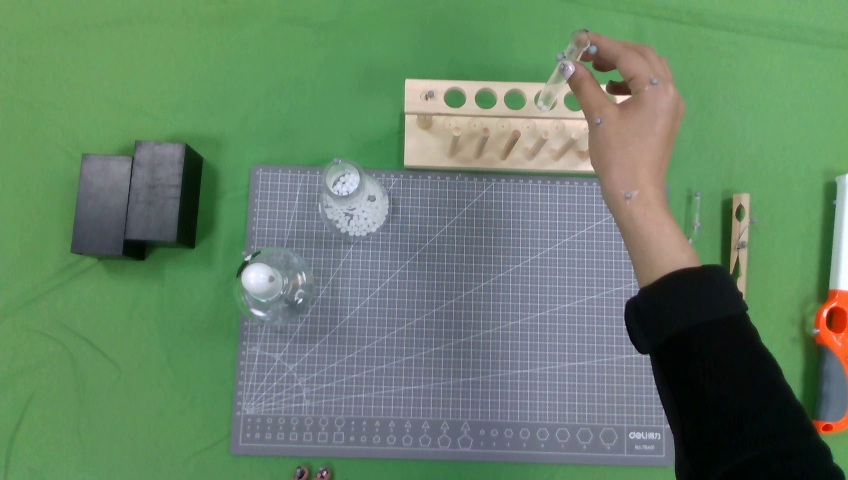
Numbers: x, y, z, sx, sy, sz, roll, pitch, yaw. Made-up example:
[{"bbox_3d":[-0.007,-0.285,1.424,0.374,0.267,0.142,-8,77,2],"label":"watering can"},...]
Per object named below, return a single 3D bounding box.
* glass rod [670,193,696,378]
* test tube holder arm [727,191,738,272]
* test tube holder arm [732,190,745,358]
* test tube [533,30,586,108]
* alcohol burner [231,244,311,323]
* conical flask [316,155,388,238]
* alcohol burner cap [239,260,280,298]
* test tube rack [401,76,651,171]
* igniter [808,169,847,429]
[{"bbox_3d":[0.277,0.047,0.645,0.008,0.008,0.199,9,84,-1],"label":"glass rod"},{"bbox_3d":[0.332,-0.009,0.652,0.010,0.015,0.087,0,82,34],"label":"test tube holder arm"},{"bbox_3d":[0.334,0.036,0.643,0.013,0.015,0.178,-2,81,34],"label":"test tube holder arm"},{"bbox_3d":[0.113,-0.142,0.524,0.017,0.150,0.017,0,84,0],"label":"test tube"},{"bbox_3d":[-0.149,0.040,0.577,0.078,0.119,0.077,0,81,1],"label":"alcohol burner"},{"bbox_3d":[-0.074,-0.047,0.586,0.075,0.122,0.075,0,82,-1],"label":"conical flask"},{"bbox_3d":[-0.149,0.033,0.541,0.034,0.048,0.033,1,78,-6],"label":"alcohol burner cap"},{"bbox_3d":[0.098,-0.117,0.623,0.242,0.085,0.066,1,82,-2],"label":"test tube rack"},{"bbox_3d":[0.438,0.061,0.640,0.057,0.025,0.275,12,83,-10],"label":"igniter"}]
